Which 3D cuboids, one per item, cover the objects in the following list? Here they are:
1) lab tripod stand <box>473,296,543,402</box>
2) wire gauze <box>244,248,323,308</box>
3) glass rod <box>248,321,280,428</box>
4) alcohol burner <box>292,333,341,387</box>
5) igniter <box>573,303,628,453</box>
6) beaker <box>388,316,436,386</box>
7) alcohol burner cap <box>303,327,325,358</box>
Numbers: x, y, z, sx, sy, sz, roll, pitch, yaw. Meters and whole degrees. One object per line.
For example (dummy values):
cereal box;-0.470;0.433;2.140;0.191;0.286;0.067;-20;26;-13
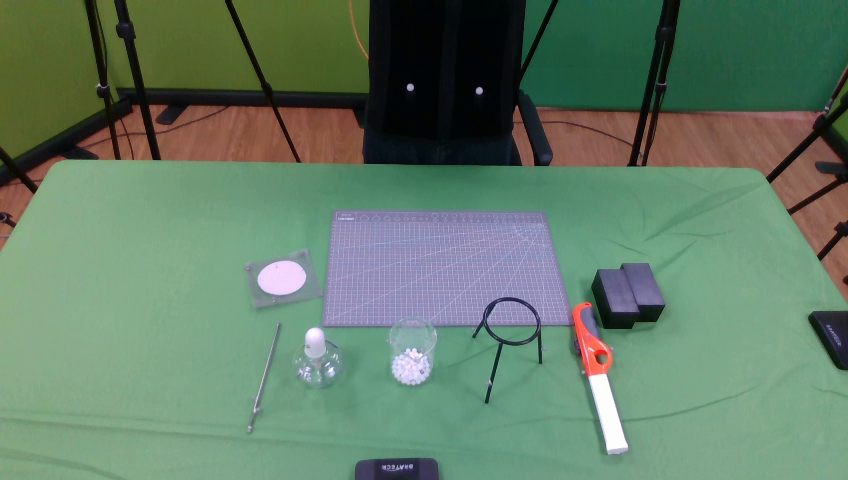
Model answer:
lab tripod stand;0.132;0.168;0.969;0.148;0.132;0.147;3;48;-3
wire gauze;-0.262;0.071;1.121;0.125;0.011;0.120;-11;48;-17
glass rod;-0.257;0.213;0.984;0.008;0.008;0.198;4;46;1
alcohol burner;-0.170;0.179;0.950;0.078;0.120;0.077;2;48;-2
igniter;0.288;0.216;1.006;0.057;0.025;0.274;-9;46;8
beaker;-0.019;0.183;0.968;0.074;0.101;0.083;-7;48;-10
alcohol burner cap;-0.169;0.154;0.925;0.034;0.048;0.033;4;41;-3
